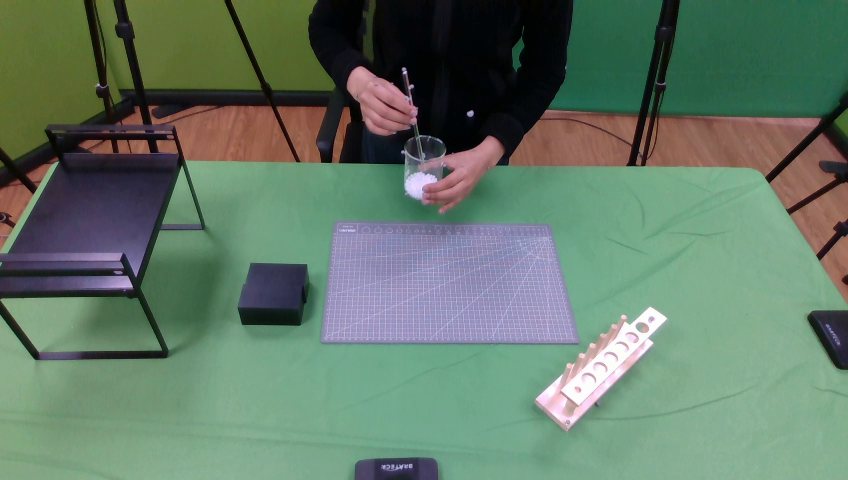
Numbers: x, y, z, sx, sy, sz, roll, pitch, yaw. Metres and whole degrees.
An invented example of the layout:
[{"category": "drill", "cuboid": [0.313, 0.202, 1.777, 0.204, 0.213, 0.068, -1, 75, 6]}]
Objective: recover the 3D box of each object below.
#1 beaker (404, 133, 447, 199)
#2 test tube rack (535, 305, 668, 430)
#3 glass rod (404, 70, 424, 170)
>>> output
[{"category": "beaker", "cuboid": [0.001, -0.133, 1.096, 0.074, 0.101, 0.083, 10, 46, 4]}, {"category": "test tube rack", "cuboid": [0.290, 0.193, 0.984, 0.242, 0.085, 0.066, -32, 56, -30]}, {"category": "glass rod", "cuboid": [-0.015, -0.198, 1.021, 0.008, 0.201, 0.008, -5, 45, 6]}]
